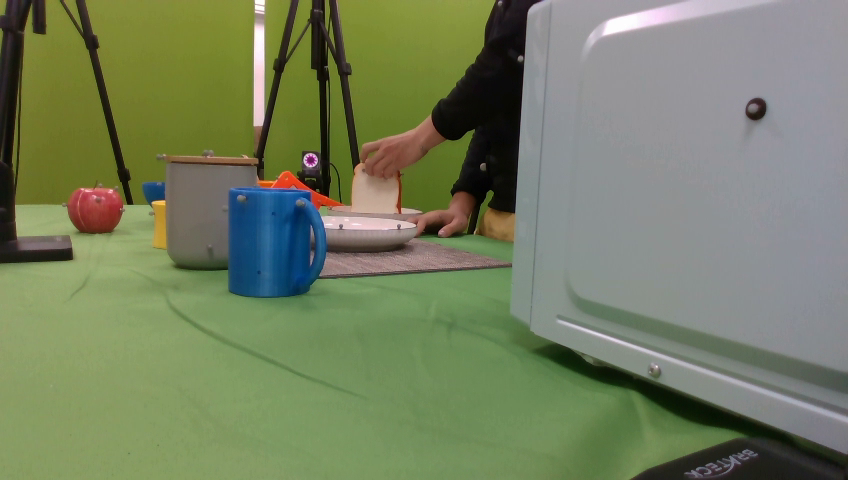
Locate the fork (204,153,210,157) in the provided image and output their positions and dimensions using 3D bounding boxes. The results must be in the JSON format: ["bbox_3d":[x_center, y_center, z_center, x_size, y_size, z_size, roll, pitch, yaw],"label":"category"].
[{"bbox_3d":[-0.480,-0.135,1.411,0.028,0.018,0.207,1,-34,-1],"label":"fork"}]

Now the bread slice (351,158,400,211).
[{"bbox_3d":[-0.102,-0.104,1.271,0.107,0.134,0.018,-1,0,3],"label":"bread slice"}]

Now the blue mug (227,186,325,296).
[{"bbox_3d":[-0.146,0.000,0.618,0.116,0.106,0.083,7,9,32],"label":"blue mug"}]

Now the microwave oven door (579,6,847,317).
[{"bbox_3d":[0.294,-0.067,0.570,0.358,0.243,0.039,-3,9,-31],"label":"microwave oven door"}]

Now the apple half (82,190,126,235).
[{"bbox_3d":[-0.516,-0.046,0.994,0.032,0.081,0.081,0,6,26],"label":"apple half"}]

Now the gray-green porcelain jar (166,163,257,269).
[{"bbox_3d":[-0.263,-0.031,0.754,0.106,0.126,0.106,2,7,0],"label":"gray-green porcelain jar"}]

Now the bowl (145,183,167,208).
[{"bbox_3d":[-0.459,-0.069,1.175,0.151,0.077,0.151,2,7,0],"label":"bowl"}]

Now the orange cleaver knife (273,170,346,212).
[{"bbox_3d":[-0.253,-0.089,1.368,0.212,0.077,0.012,26,-8,-42],"label":"orange cleaver knife"}]

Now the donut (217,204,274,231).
[{"bbox_3d":[-0.317,-0.038,1.080,0.099,0.048,0.099,2,7,0],"label":"donut"}]

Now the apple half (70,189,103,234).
[{"bbox_3d":[-0.552,-0.048,1.010,0.053,0.074,0.081,-1,9,26],"label":"apple half"}]

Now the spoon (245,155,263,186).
[{"bbox_3d":[-0.421,-0.150,1.540,0.042,0.021,0.193,-5,55,-37],"label":"spoon"}]

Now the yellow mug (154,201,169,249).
[{"bbox_3d":[-0.337,-0.022,0.899,0.130,0.064,0.100,8,9,34],"label":"yellow mug"}]

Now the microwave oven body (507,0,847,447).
[{"bbox_3d":[0.331,-0.042,0.425,0.444,0.260,0.324,-2,8,-31],"label":"microwave oven body"}]

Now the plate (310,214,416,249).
[{"bbox_3d":[-0.117,-0.014,0.967,0.208,0.039,0.207,2,7,0],"label":"plate"}]

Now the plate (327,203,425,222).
[{"bbox_3d":[-0.102,-0.053,1.299,0.209,0.038,0.209,2,7,0],"label":"plate"}]

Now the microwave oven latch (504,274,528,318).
[{"bbox_3d":[0.100,0.041,0.471,0.079,0.029,0.030,-1,8,-28],"label":"microwave oven latch"}]

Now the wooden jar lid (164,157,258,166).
[{"bbox_3d":[-0.261,-0.093,0.746,0.108,0.020,0.108,1,9,0],"label":"wooden jar lid"}]

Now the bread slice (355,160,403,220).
[{"bbox_3d":[-0.096,-0.110,1.325,0.105,0.131,0.019,4,2,5],"label":"bread slice"}]
